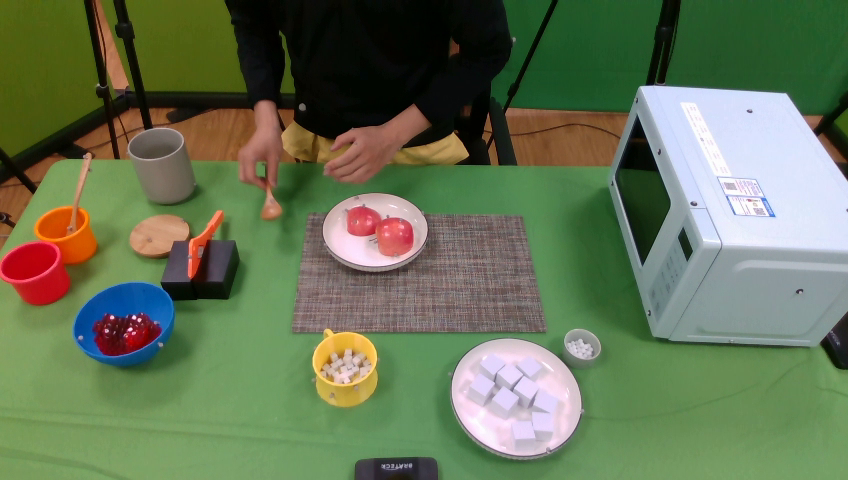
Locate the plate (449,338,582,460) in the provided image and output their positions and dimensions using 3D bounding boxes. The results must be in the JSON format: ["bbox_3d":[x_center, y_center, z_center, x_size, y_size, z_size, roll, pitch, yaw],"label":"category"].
[{"bbox_3d":[0.141,0.251,0.956,0.208,0.039,0.206,2,46,-2],"label":"plate"}]

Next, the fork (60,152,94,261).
[{"bbox_3d":[-0.638,-0.063,1.119,0.028,0.018,0.207,12,90,7],"label":"fork"}]

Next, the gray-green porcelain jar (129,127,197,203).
[{"bbox_3d":[-0.521,-0.147,1.224,0.106,0.127,0.105,2,47,-2],"label":"gray-green porcelain jar"}]

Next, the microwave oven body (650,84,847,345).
[{"bbox_3d":[0.569,-0.054,1.116,0.326,0.261,0.439,2,46,-1],"label":"microwave oven body"}]

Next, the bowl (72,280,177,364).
[{"bbox_3d":[-0.473,0.147,0.982,0.151,0.077,0.150,2,46,-2],"label":"bowl"}]

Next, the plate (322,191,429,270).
[{"bbox_3d":[-0.094,-0.015,1.185,0.209,0.038,0.208,2,46,-2],"label":"plate"}]

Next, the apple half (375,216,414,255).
[{"bbox_3d":[-0.056,-0.017,1.169,0.075,0.053,0.080,0,46,-7],"label":"apple half"}]

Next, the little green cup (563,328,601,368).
[{"bbox_3d":[0.265,0.185,1.025,0.061,0.039,0.061,1,45,-1],"label":"little green cup"}]

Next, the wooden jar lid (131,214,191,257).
[{"bbox_3d":[-0.504,-0.008,1.167,0.108,0.021,0.107,3,46,-3],"label":"wooden jar lid"}]

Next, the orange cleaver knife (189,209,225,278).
[{"bbox_3d":[-0.401,0.002,1.122,0.012,0.077,0.210,3,22,-4],"label":"orange cleaver knife"}]

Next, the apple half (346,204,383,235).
[{"bbox_3d":[-0.119,-0.049,1.207,0.081,0.033,0.081,2,50,-2],"label":"apple half"}]

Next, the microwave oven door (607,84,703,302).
[{"bbox_3d":[0.424,-0.096,1.137,0.039,0.245,0.353,3,46,-1],"label":"microwave oven door"}]

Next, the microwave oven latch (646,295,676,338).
[{"bbox_3d":[0.413,0.133,1.060,0.030,0.029,0.078,4,46,1],"label":"microwave oven latch"}]

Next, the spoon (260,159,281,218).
[{"bbox_3d":[-0.308,-0.107,1.206,0.041,0.022,0.192,-19,48,2],"label":"spoon"}]

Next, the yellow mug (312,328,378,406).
[{"bbox_3d":[-0.132,0.193,0.971,0.100,0.064,0.130,-22,51,-22],"label":"yellow mug"}]
